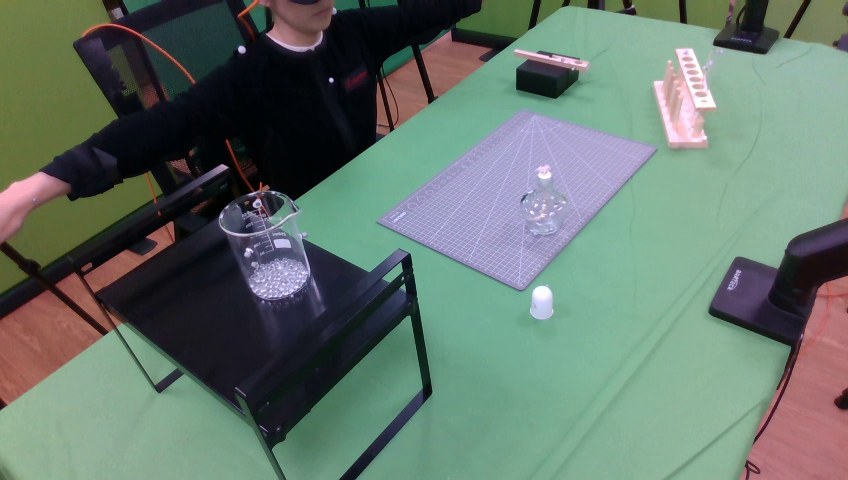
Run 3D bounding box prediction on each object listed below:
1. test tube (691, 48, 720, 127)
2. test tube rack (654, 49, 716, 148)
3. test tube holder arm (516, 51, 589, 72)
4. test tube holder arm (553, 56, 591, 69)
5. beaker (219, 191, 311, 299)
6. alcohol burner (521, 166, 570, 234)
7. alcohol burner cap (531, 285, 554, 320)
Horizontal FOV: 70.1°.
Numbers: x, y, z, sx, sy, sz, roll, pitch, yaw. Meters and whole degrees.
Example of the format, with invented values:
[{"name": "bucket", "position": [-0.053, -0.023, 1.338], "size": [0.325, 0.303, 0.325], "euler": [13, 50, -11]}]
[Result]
[{"name": "test tube", "position": [0.505, -0.270, 1.088], "size": [0.017, 0.151, 0.017], "euler": [-1, 40, 2]}, {"name": "test tube rack", "position": [0.502, -0.281, 1.176], "size": [0.066, 0.085, 0.241], "euler": [2, 41, 11]}, {"name": "test tube holder arm", "position": [0.277, -0.391, 1.318], "size": [0.177, 0.015, 0.013], "euler": [22, 58, 32]}, {"name": "test tube holder arm", "position": [0.315, -0.380, 1.297], "size": [0.087, 0.015, 0.010], "euler": [22, 58, 32]}, {"name": "beaker", "position": [-0.164, 0.008, 0.654], "size": [0.084, 0.101, 0.073], "euler": [-10, 41, -3]}, {"name": "alcohol burner", "position": [0.192, -0.068, 0.951], "size": [0.078, 0.119, 0.077], "euler": [-4, 42, 4]}, {"name": "alcohol burner cap", "position": [0.164, 0.084, 0.838], "size": [0.034, 0.048, 0.033], "euler": [-4, 40, 4]}]
